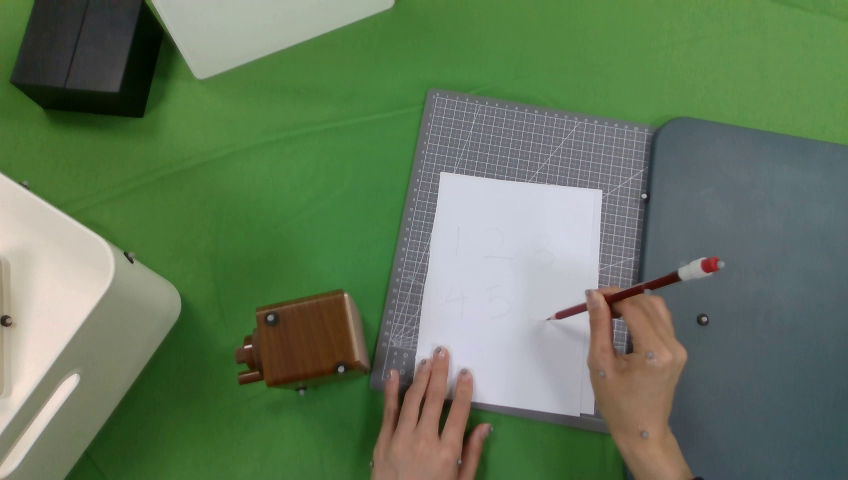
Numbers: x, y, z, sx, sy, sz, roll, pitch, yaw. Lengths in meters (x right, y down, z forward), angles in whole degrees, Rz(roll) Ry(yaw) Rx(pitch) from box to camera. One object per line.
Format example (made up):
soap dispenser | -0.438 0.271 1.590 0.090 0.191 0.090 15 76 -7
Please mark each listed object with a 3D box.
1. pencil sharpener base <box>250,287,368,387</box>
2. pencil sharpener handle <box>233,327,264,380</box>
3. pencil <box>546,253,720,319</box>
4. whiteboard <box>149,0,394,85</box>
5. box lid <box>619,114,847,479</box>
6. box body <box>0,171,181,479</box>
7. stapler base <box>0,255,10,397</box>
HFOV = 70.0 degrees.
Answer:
pencil sharpener base | -0.091 0.083 0.494 0.077 0.107 0.061 -12 76 -4
pencil sharpener handle | -0.140 0.094 0.477 0.031 0.068 0.035 -12 59 -4
pencil | 0.148 0.041 0.468 0.012 0.194 0.012 8 69 -21
whiteboard | -0.174 -0.331 0.526 0.217 0.308 0.142 -23 58 -7
box lid | 0.324 0.066 0.559 0.263 0.015 0.369 10 76 0
box body | -0.414 0.043 0.466 0.363 0.161 0.253 30 77 6
stapler base | -0.388 0.074 0.525 0.041 0.024 0.130 -10 78 -2
